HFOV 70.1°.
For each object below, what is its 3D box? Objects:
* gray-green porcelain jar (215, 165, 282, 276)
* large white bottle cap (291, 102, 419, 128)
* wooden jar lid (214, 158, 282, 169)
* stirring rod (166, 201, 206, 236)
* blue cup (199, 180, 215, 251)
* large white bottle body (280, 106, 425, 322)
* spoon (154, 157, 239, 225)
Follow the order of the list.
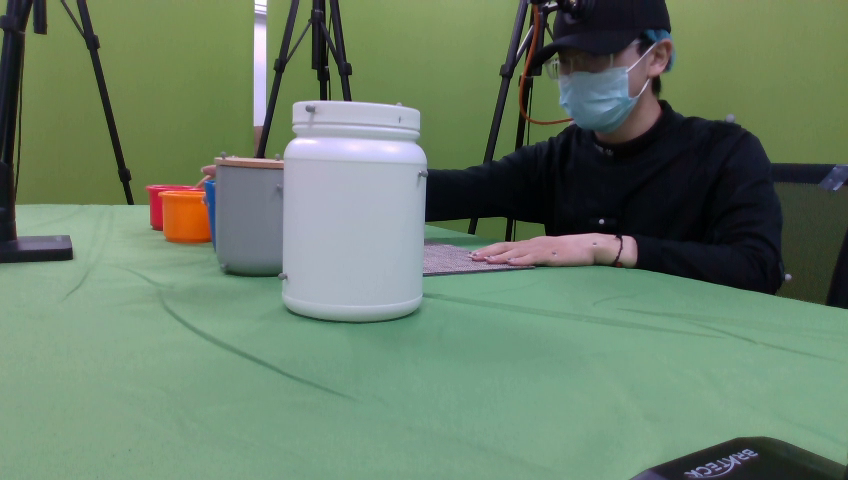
[{"bbox_3d":[-0.195,-0.024,0.726,0.106,0.126,0.106,3,7,0],"label":"gray-green porcelain jar"},{"bbox_3d":[-0.062,-0.111,0.547,0.115,0.018,0.115,2,8,0],"label":"large white bottle cap"},{"bbox_3d":[-0.193,-0.085,0.719,0.108,0.020,0.108,2,9,0],"label":"wooden jar lid"},{"bbox_3d":[-0.341,-0.066,0.966,0.176,0.006,0.014,-42,22,-9],"label":"stirring rod"},{"bbox_3d":[-0.267,-0.033,0.861,0.093,0.100,0.092,3,8,0],"label":"blue cup"},{"bbox_3d":[-0.065,-0.028,0.559,0.131,0.184,0.130,2,7,0],"label":"large white bottle body"},{"bbox_3d":[-0.412,-0.092,1.105,0.041,0.022,0.194,14,57,51],"label":"spoon"}]
